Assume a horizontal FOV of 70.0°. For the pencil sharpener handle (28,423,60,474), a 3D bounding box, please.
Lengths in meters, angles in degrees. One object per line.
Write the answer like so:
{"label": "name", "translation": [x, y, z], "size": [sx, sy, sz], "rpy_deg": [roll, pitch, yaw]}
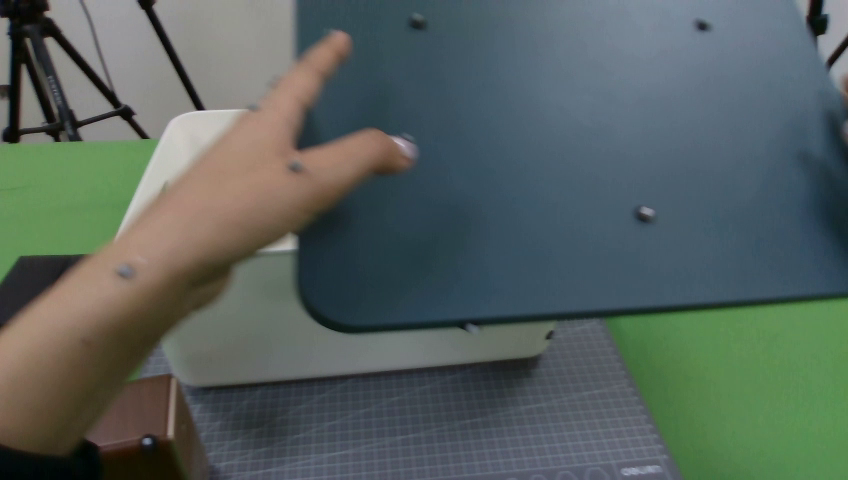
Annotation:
{"label": "pencil sharpener handle", "translation": [-0.252, 0.152, 0.404], "size": [0.031, 0.068, 0.035], "rpy_deg": [-9, 40, -12]}

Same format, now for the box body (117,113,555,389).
{"label": "box body", "translation": [-0.063, -0.004, 0.599], "size": [0.365, 0.162, 0.251], "rpy_deg": [-4, 37, -7]}

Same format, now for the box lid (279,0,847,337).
{"label": "box lid", "translation": [0.097, -0.075, 0.385], "size": [0.372, 0.015, 0.261], "rpy_deg": [-3, 64, -10]}

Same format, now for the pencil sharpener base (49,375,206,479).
{"label": "pencil sharpener base", "translation": [-0.202, 0.155, 0.422], "size": [0.077, 0.108, 0.060], "rpy_deg": [-9, 38, -12]}
